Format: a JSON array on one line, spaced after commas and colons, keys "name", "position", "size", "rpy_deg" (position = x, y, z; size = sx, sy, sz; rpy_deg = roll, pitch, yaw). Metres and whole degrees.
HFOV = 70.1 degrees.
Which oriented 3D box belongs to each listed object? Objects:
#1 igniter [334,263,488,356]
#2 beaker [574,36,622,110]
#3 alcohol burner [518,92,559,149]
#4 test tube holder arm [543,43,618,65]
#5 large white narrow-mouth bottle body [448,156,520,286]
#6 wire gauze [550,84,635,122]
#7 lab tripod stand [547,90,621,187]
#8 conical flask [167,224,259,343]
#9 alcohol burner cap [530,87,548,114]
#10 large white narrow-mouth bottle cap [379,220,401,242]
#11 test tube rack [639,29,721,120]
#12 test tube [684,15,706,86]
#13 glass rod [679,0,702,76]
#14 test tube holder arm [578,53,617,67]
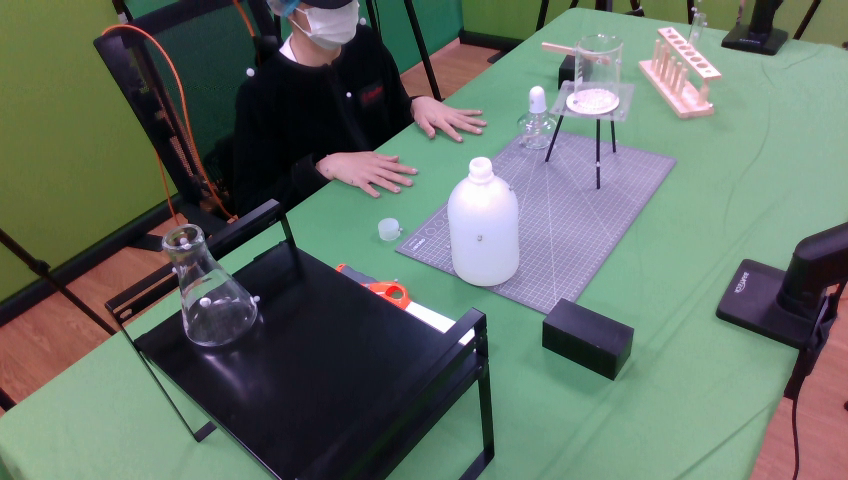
[{"name": "igniter", "position": [-0.030, 0.095, 0.872], "size": [0.274, 0.025, 0.057], "rpy_deg": [23, 60, 31]}, {"name": "beaker", "position": [0.285, -0.273, 0.990], "size": [0.073, 0.101, 0.084], "rpy_deg": [15, 46, 27]}, {"name": "alcohol burner", "position": [0.218, -0.234, 1.149], "size": [0.078, 0.119, 0.077], "rpy_deg": [-5, 43, 5]}, {"name": "test tube holder arm", "position": [0.345, -0.413, 1.341], "size": [0.177, 0.015, 0.013], "rpy_deg": [25, 50, 32]}, {"name": "large white narrow-mouth bottle body", "position": [0.086, -0.032, 0.869], "size": [0.102, 0.195, 0.101], "rpy_deg": [-4, 40, 4]}, {"name": "wire gauze", "position": [0.285, -0.234, 1.021], "size": [0.124, 0.011, 0.121], "rpy_deg": [8, 41, 23]}, {"name": "lab tripod stand", "position": [0.289, -0.184, 1.062], "size": [0.148, 0.132, 0.147], "rpy_deg": [-6, 41, 6]}, {"name": "conical flask", "position": [-0.220, 0.041, 0.613], "size": [0.075, 0.122, 0.075], "rpy_deg": [-5, 40, 4]}, {"name": "alcohol burner cap", "position": [0.212, -0.262, 1.126], "size": [0.034, 0.048, 0.033], "rpy_deg": [-9, 36, 7]}, {"name": "large white narrow-mouth bottle cap", "position": [-0.057, -0.015, 1.011], "size": [0.038, 0.024, 0.037], "rpy_deg": [-4, 40, 4]}, {"name": "test tube rack", "position": [0.527, -0.351, 1.262], "size": [0.067, 0.085, 0.241], "rpy_deg": [-8, 40, 1]}, {"name": "test tube", "position": [0.540, -0.378, 1.215], "size": [0.017, 0.151, 0.017], "rpy_deg": [-2, 44, 3]}, {"name": "glass rod", "position": [0.543, -0.417, 1.233], "size": [0.008, 0.200, 0.008], "rpy_deg": [1, 39, 0]}, {"name": "test tube holder arm", "position": [0.376, -0.393, 1.314], "size": [0.087, 0.015, 0.010], "rpy_deg": [26, 50, 32]}]
